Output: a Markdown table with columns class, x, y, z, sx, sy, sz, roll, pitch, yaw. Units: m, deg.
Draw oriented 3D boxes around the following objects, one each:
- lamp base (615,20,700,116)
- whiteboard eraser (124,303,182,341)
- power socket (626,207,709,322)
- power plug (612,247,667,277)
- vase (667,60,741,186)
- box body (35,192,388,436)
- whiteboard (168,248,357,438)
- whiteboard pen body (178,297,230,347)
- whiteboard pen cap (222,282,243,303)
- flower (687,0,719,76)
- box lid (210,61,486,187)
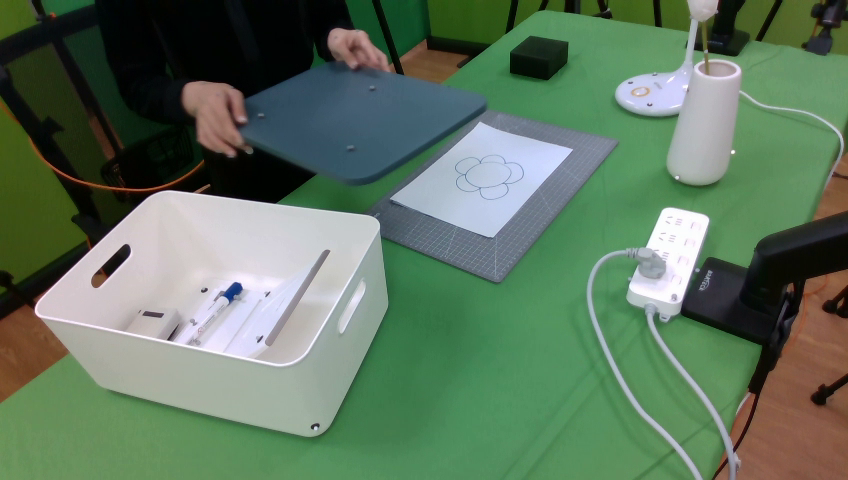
| class | x | y | z | sx | sy | sz | roll | pitch | yaw |
| --- | --- | --- | --- | --- | --- | --- | --- | --- | --- |
| lamp base | 0.484 | -0.364 | 1.211 | 0.180 | 0.181 | 0.159 | -15 | 41 | -14 |
| whiteboard eraser | -0.384 | 0.139 | 0.829 | 0.055 | 0.042 | 0.112 | 9 | 40 | 8 |
| power socket | 0.360 | 0.026 | 0.886 | 0.072 | 0.033 | 0.227 | 17 | 46 | 27 |
| power plug | 0.306 | 0.031 | 0.852 | 0.072 | 0.053 | 0.035 | 21 | 48 | 38 |
| vase | 0.463 | -0.189 | 0.994 | 0.098 | 0.201 | 0.097 | -4 | 40 | 4 |
| box body | -0.251 | 0.088 | 0.800 | 0.362 | 0.161 | 0.254 | 7 | 42 | 16 |
| whiteboard | -0.242 | 0.100 | 0.799 | 0.304 | 0.144 | 0.217 | 8 | 44 | 15 |
| whiteboard pen body | -0.300 | 0.112 | 0.832 | 0.017 | 0.017 | 0.141 | 11 | 41 | 20 |
| whiteboard pen cap | -0.278 | 0.078 | 0.874 | 0.018 | 0.018 | 0.033 | 11 | 41 | 19 |
| flower | 0.436 | -0.242 | 0.934 | 0.038 | 0.364 | 0.043 | -24 | 49 | 8 |
| box lid | -0.119 | -0.185 | 0.888 | 0.368 | 0.015 | 0.264 | 24 | 49 | 37 |
